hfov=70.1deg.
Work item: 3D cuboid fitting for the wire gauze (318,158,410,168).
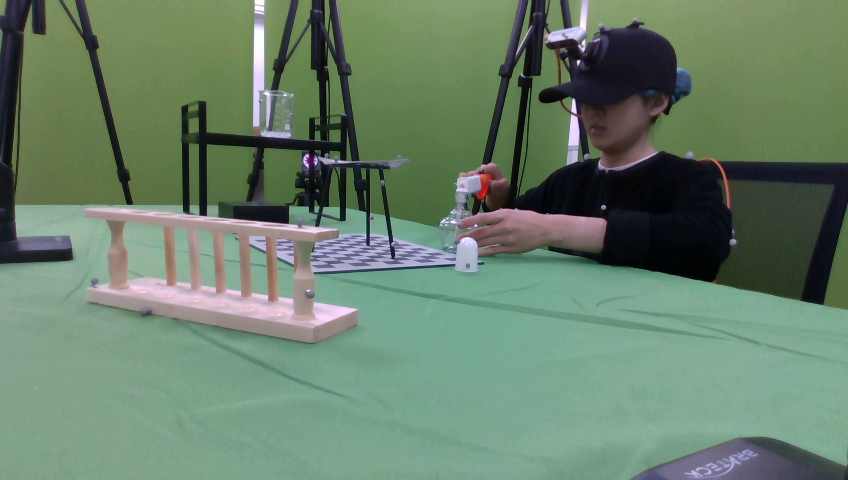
[{"bbox_3d":[-0.090,-0.114,0.888,0.122,0.011,0.124,0,6,-15],"label":"wire gauze"}]

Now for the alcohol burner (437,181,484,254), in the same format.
[{"bbox_3d":[0.060,-0.037,0.981,0.078,0.119,0.078,4,9,0],"label":"alcohol burner"}]

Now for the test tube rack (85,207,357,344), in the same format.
[{"bbox_3d":[-0.177,0.022,0.518,0.241,0.085,0.067,6,7,23],"label":"test tube rack"}]

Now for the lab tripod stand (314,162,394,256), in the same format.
[{"bbox_3d":[-0.098,-0.048,0.897,0.148,0.131,0.148,1,6,0],"label":"lab tripod stand"}]

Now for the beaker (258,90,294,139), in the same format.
[{"bbox_3d":[-0.324,-0.274,1.331,0.083,0.100,0.074,7,9,24],"label":"beaker"}]

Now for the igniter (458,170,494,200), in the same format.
[{"bbox_3d":[0.100,-0.102,1.123,0.025,0.057,0.277,-3,6,15],"label":"igniter"}]

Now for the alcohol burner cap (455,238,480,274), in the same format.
[{"bbox_3d":[0.058,0.022,0.798,0.034,0.048,0.034,2,6,0],"label":"alcohol burner cap"}]
